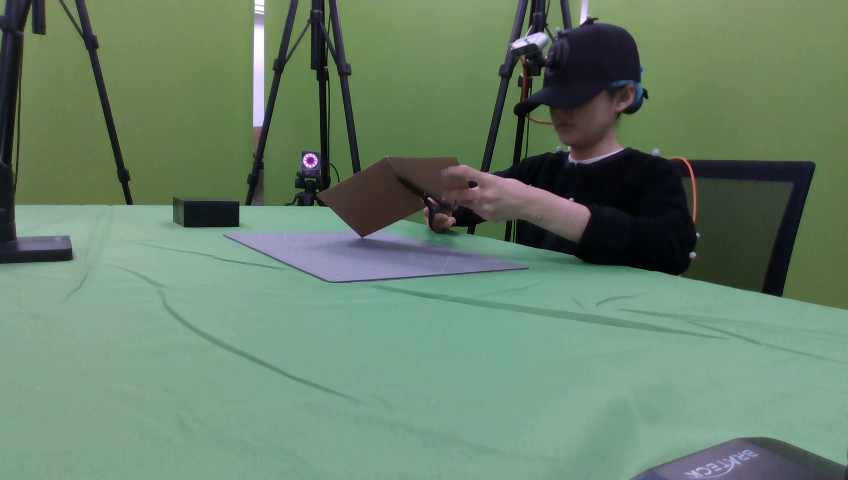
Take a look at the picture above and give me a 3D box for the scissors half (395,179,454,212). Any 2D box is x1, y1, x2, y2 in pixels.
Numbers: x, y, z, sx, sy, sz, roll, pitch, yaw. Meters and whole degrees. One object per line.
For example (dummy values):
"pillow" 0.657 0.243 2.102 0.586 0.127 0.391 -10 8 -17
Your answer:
"scissors half" 0.007 -0.080 1.024 0.012 0.040 0.176 23 7 38

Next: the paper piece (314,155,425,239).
"paper piece" -0.087 -0.065 1.001 0.138 0.136 0.008 -26 44 16

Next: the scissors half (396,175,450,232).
"scissors half" -0.001 -0.060 1.022 0.013 0.040 0.176 17 -19 38

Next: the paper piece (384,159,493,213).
"paper piece" 0.023 -0.083 0.941 0.135 0.004 0.136 7 -27 39
